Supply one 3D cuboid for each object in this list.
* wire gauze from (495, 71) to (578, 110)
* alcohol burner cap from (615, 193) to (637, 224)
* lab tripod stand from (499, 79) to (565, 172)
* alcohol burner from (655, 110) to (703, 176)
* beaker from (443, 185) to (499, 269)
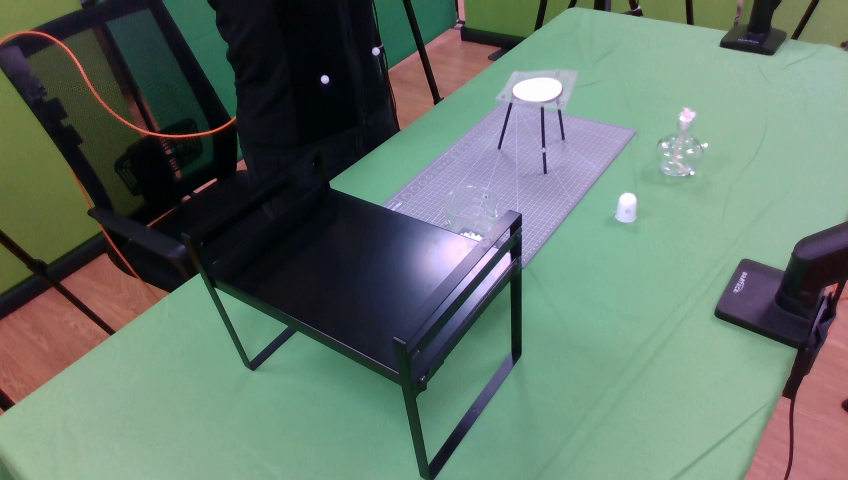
[{"bbox_3d":[0.199,-0.268,1.065,0.124,0.011,0.121,10,44,22],"label":"wire gauze"},{"bbox_3d":[0.327,-0.054,0.974,0.034,0.048,0.033,-4,38,4],"label":"alcohol burner cap"},{"bbox_3d":[0.204,-0.216,1.107,0.148,0.132,0.147,-6,41,5],"label":"lab tripod stand"},{"bbox_3d":[0.440,-0.170,1.037,0.078,0.119,0.077,-3,40,3],"label":"alcohol burner"},{"bbox_3d":[0.071,-0.015,0.844,0.074,0.101,0.083,-35,48,-29],"label":"beaker"}]
